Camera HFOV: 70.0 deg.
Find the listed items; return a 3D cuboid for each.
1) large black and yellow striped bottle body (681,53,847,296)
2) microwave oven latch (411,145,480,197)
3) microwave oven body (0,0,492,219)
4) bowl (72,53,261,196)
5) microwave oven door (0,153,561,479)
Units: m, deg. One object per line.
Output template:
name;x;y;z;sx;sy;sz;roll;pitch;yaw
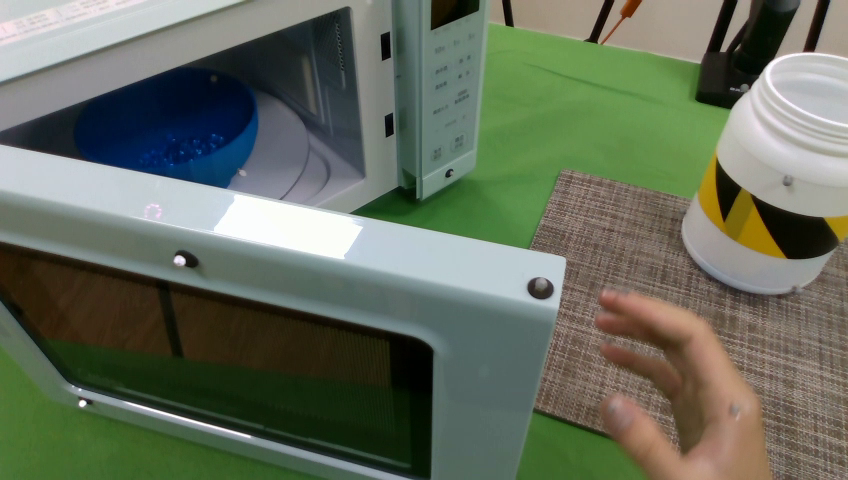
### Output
large black and yellow striped bottle body;0.318;-0.054;0.532;0.131;0.185;0.129;0;46;0
microwave oven latch;0.023;-0.077;0.635;0.079;0.030;0.030;-30;54;-25
microwave oven body;-0.209;-0.142;0.560;0.442;0.262;0.323;-32;55;-26
bowl;-0.215;-0.084;0.537;0.151;0.077;0.150;2;58;-3
microwave oven door;-0.113;0.065;0.356;0.355;0.246;0.039;11;47;10
